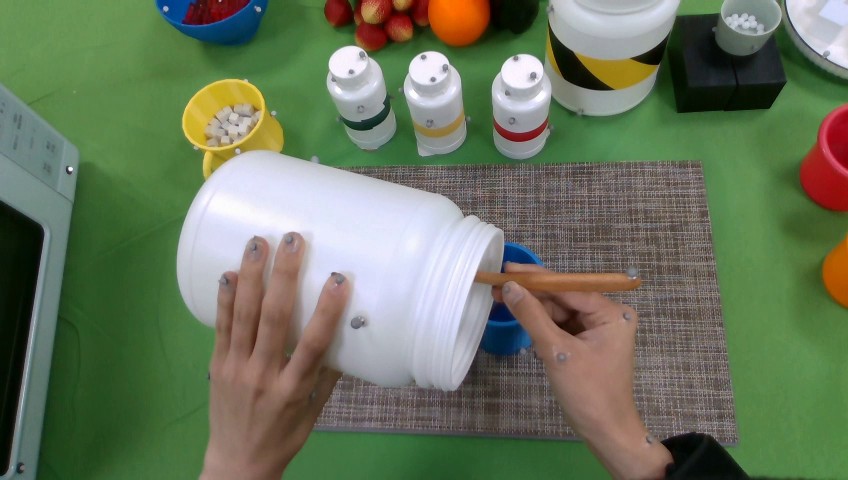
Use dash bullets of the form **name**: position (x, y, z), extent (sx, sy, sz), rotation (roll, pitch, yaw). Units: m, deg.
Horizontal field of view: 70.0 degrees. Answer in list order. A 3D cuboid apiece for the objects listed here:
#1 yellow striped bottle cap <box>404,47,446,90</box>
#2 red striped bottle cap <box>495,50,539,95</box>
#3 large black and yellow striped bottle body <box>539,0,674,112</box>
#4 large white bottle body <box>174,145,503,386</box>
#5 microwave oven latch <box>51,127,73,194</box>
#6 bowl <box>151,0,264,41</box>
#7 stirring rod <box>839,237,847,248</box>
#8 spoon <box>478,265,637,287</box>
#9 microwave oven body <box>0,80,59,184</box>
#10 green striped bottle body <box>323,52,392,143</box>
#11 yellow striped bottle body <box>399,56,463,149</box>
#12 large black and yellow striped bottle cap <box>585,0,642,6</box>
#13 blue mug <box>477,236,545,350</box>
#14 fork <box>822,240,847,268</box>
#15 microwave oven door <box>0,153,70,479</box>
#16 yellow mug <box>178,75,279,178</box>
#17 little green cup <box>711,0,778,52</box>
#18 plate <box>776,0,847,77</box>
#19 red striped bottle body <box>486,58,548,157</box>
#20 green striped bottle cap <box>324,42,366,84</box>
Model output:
- **yellow striped bottle cap**: position (0.001, -0.179, 0.630), extent (0.044, 0.019, 0.044), rotation (-1, 64, 2)
- **red striped bottle cap**: position (0.095, -0.171, 0.615), extent (0.044, 0.018, 0.044), rotation (-1, 66, 3)
- **large black and yellow striped bottle body**: position (0.194, -0.241, 0.654), extent (0.130, 0.185, 0.130), rotation (-3, 67, 7)
- **large white bottle body**: position (-0.051, 0.018, 0.406), extent (0.184, 0.131, 0.130), rotation (16, 70, 14)
- **microwave oven latch**: position (-0.448, -0.095, 0.735), extent (0.030, 0.030, 0.078), rotation (-7, 67, 4)
- **bowl**: position (-0.273, -0.320, 0.805), extent (0.151, 0.077, 0.150), rotation (-2, 67, 6)
- **stirring rod**: position (0.418, 0.035, 0.537), extent (0.014, 0.006, 0.175), rotation (2, 25, 6)
- **spoon**: position (0.044, 0.019, 0.409), extent (0.192, 0.042, 0.021), rotation (6, 42, 33)
- **microwave oven body**: position (-0.587, 0.051, 0.587), extent (0.326, 0.262, 0.438), rotation (-9, 67, 3)
- **green striped bottle body**: position (-0.076, -0.168, 0.693), extent (0.063, 0.120, 0.062), rotation (-3, 67, 6)
- **yellow striped bottle body**: position (0.009, -0.159, 0.678), extent (0.063, 0.121, 0.062), rotation (-3, 66, 7)
- **large black and yellow striped bottle cap**: position (0.183, -0.274, 0.575), extent (0.115, 0.019, 0.114), rotation (-4, 68, 9)
- **blue mug**: position (0.059, 0.062, 0.584), extent (0.116, 0.107, 0.081), rotation (-30, 66, -5)
- **fork**: position (0.446, 0.036, 0.524), extent (0.028, 0.019, 0.205), rotation (-26, 22, -12)
- **microwave oven door**: position (-0.439, 0.066, 0.556), extent (0.039, 0.246, 0.353), rotation (-9, 66, 4)
- **yellow mug**: position (-0.237, -0.125, 0.725), extent (0.099, 0.064, 0.130), rotation (9, 70, 11)
- **little green cup**: position (0.344, -0.237, 0.657), extent (0.061, 0.039, 0.061), rotation (-2, 65, 4)
- **plate**: position (0.516, -0.266, 0.703), extent (0.209, 0.038, 0.207), rotation (-2, 68, 6)
- **red striped bottle body**: position (0.103, -0.149, 0.663), extent (0.063, 0.121, 0.062), rotation (-6, 63, 11)
- **green striped bottle cap**: position (-0.084, -0.189, 0.646), extent (0.044, 0.020, 0.044), rotation (-2, 66, 5)
